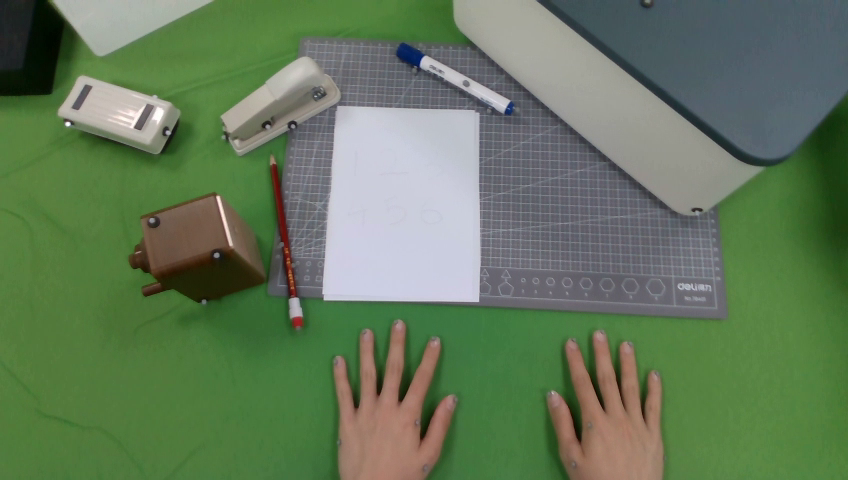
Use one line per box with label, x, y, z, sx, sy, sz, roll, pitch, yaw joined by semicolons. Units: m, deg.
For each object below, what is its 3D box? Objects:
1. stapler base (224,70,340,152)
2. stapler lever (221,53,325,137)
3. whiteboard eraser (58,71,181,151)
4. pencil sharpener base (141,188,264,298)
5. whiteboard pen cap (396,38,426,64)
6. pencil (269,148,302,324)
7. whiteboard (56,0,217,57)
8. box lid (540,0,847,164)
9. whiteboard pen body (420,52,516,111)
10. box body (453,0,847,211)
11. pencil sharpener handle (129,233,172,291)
stapler base;-0.153;-0.144;0.648;0.130;0.024;0.041;-31;71;-5
stapler lever;-0.156;-0.151;0.624;0.118;0.040;0.026;-31;70;-6
whiteboard eraser;-0.318;-0.134;0.638;0.112;0.042;0.055;18;76;5
pencil sharpener base;-0.203;0.007;0.560;0.077;0.107;0.061;-19;73;-5
whiteboard pen cap;-0.013;-0.207;0.667;0.033;0.018;0.018;31;75;12
pencil;-0.143;-0.008;0.614;0.012;0.012;0.192;-12;73;-3
whiteboard;-0.336;-0.391;0.612;0.217;0.308;0.142;-30;55;-8
box lid;0.227;-0.260;0.530;0.263;0.015;0.370;-43;78;-12
whiteboard pen body;0.036;-0.178;0.655;0.140;0.017;0.017;31;75;12
box body;0.229;-0.236;0.600;0.254;0.161;0.362;-43;77;-12
pencil sharpener handle;-0.250;0.024;0.542;0.030;0.068;0.035;-19;57;-5
